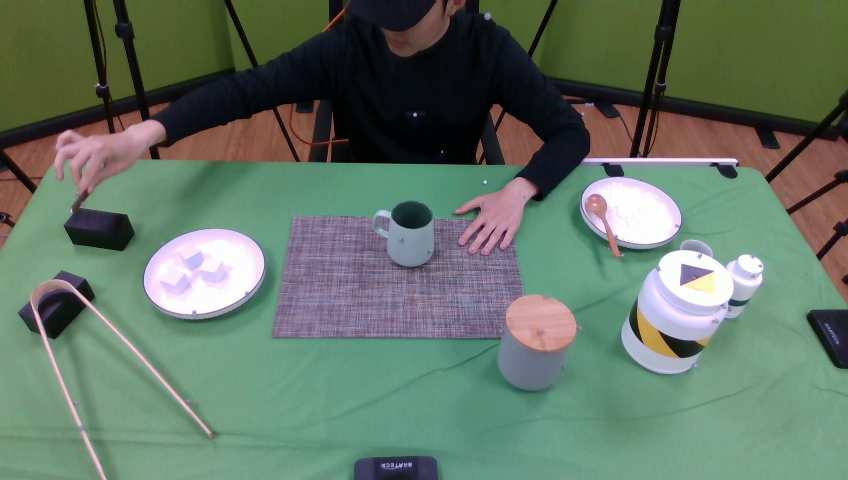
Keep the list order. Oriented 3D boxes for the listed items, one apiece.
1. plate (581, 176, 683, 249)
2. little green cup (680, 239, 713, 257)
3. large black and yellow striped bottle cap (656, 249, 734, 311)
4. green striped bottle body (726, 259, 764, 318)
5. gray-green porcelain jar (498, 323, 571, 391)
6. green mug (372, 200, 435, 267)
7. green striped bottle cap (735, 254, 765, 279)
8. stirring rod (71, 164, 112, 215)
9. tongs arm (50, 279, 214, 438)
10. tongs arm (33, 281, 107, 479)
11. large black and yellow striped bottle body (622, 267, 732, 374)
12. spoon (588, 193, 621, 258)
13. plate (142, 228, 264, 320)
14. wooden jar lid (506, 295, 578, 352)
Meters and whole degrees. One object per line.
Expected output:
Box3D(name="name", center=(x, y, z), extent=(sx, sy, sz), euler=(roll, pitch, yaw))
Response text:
Box3D(name="plate", center=(0.430, -0.054, 1.267), extent=(0.209, 0.038, 0.208), euler=(2, 46, -2))
Box3D(name="little green cup", center=(0.530, 0.033, 1.189), extent=(0.061, 0.039, 0.061), euler=(2, 48, -2))
Box3D(name="large black and yellow striped bottle cap", center=(0.419, 0.061, 0.938), extent=(0.115, 0.019, 0.114), euler=(2, 47, -2))
Box3D(name="green striped bottle body", center=(0.563, 0.081, 1.089), extent=(0.063, 0.120, 0.063), euler=(2, 46, -2))
Box3D(name="gray-green porcelain jar", center=(0.176, 0.172, 0.971), extent=(0.106, 0.127, 0.105), euler=(2, 46, -2))
Box3D(name="green mug", center=(-0.040, -0.016, 1.146), extent=(0.125, 0.105, 0.092), euler=(17, 48, 13))
Box3D(name="green striped bottle cap", center=(0.566, 0.046, 1.051), extent=(0.044, 0.020, 0.044), euler=(0, 45, 0))
Box3D(name="stirring rod", center=(-0.592, -0.093, 1.083), extent=(0.006, 0.014, 0.175), euler=(-3, 33, -3))
Box3D(name="tongs arm", center=(-0.459, 0.178, 0.949), extent=(0.386, 0.028, 0.028), euler=(37, 60, 17))
Box3D(name="tongs arm", center=(-0.517, 0.214, 0.910), extent=(0.051, 0.026, 0.383), euler=(-28, 63, -27))
Box3D(name="large black and yellow striped bottle body", center=(0.415, 0.119, 0.997), extent=(0.131, 0.185, 0.130), euler=(2, 46, -2))
Box3D(name="spoon", center=(0.367, -0.032, 1.220), extent=(0.041, 0.022, 0.192), euler=(1, 38, -1))
Box3D(name="plate", center=(-0.394, 0.064, 1.095), extent=(0.208, 0.039, 0.206), euler=(2, 46, -2))
Box3D(name="wooden jar lid", center=(0.179, 0.130, 0.925), extent=(0.108, 0.021, 0.107), euler=(2, 43, -2))
